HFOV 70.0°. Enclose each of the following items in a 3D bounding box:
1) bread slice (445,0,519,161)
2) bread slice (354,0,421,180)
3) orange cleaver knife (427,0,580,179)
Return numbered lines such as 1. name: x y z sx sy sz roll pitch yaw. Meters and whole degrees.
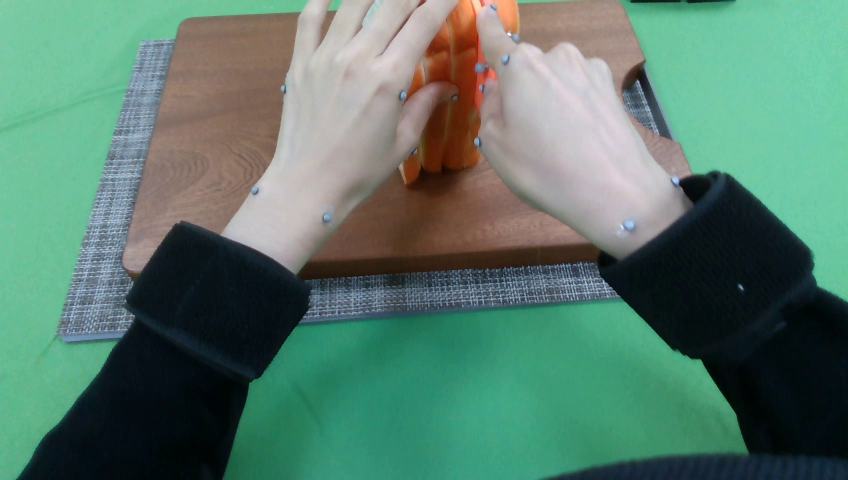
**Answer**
1. bread slice: 0.039 -0.134 0.426 0.019 0.133 0.104 -19 58 -8
2. bread slice: -0.026 -0.125 0.413 0.018 0.135 0.106 -15 52 -13
3. orange cleaver knife: 0.037 -0.114 0.373 0.012 0.077 0.209 -14 65 -17
